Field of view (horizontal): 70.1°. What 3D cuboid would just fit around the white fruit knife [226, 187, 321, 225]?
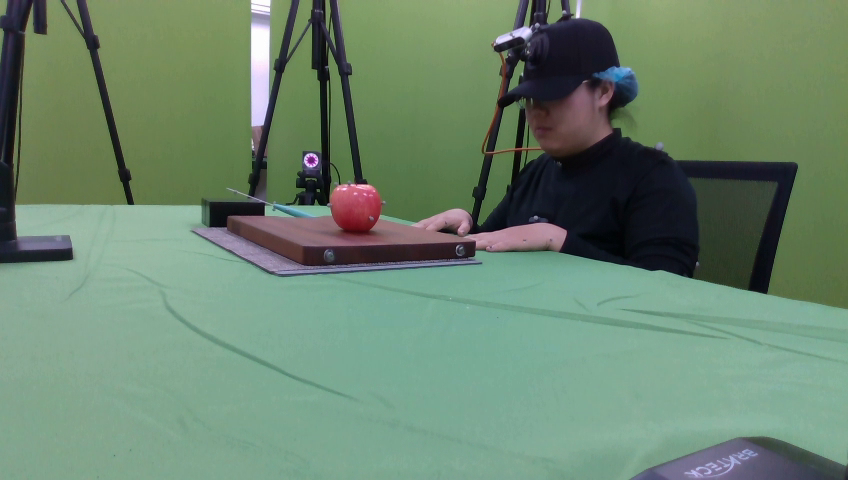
[{"bbox_3d":[-0.298,-0.068,1.213,0.208,0.016,0.027,20,-2,-31],"label":"white fruit knife"}]

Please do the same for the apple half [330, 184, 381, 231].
[{"bbox_3d":[-0.100,-0.049,0.939,0.081,0.074,0.053,1,11,-36],"label":"apple half"}]

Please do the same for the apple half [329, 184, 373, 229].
[{"bbox_3d":[-0.123,-0.056,0.970,0.082,0.081,0.032,-3,13,-36],"label":"apple half"}]
